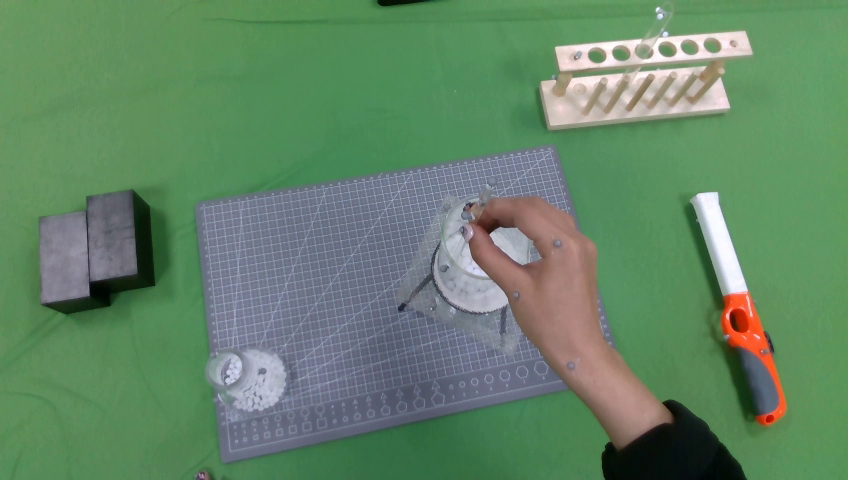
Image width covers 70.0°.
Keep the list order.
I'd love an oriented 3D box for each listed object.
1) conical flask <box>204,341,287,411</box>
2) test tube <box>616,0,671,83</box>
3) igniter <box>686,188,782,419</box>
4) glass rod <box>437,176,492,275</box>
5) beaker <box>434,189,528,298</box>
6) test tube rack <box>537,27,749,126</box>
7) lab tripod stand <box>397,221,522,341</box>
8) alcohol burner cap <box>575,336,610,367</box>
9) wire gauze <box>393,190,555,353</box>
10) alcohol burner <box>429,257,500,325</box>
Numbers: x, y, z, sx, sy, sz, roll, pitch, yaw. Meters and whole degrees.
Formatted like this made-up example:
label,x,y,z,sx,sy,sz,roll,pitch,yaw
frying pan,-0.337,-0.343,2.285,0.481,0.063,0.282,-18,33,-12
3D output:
label,x,y,z,sx,sy,sz,roll,pitch,yaw
conical flask,-0.184,0.132,0.608,0.075,0.122,0.075,1,72,-3
test tube,0.258,-0.232,0.719,0.017,0.151,0.017,0,73,0
igniter,0.365,0.068,0.716,0.057,0.025,0.274,-5,73,-16
glass rod,0.028,-0.004,0.477,0.008,0.200,0.008,3,69,-7
beaker,0.048,0.010,0.536,0.083,0.101,0.074,39,75,8
test tube rack,0.274,-0.205,0.764,0.243,0.085,0.066,-7,73,-5
lab tripod stand,0.043,0.045,0.644,0.148,0.132,0.147,1,74,-2
alcohol burner cap,0.191,0.122,0.677,0.034,0.048,0.033,1,72,-3
wire gauze,0.049,0.027,0.581,0.125,0.011,0.121,26,76,3
alcohol burner,0.045,0.051,0.653,0.078,0.119,0.077,0,74,-1
